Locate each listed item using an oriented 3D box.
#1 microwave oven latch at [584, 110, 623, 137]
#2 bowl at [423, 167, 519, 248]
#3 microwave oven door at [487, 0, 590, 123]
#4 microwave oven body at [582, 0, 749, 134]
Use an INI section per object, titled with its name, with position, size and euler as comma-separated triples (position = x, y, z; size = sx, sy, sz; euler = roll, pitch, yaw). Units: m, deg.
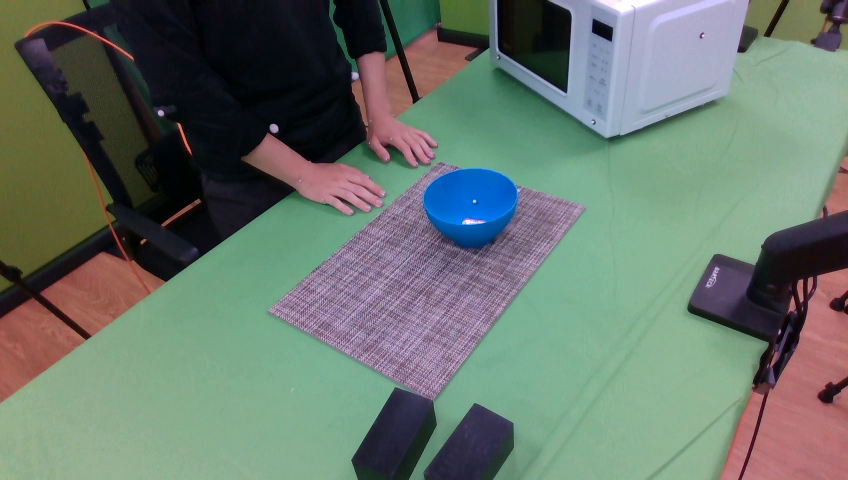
[microwave oven latch]
position = 0.337, -0.222, 1.142
size = 0.030, 0.029, 0.078
euler = -21, 42, -14
[bowl]
position = 0.075, -0.041, 0.959
size = 0.151, 0.077, 0.150
euler = -4, 40, 4
[microwave oven door]
position = 0.232, -0.420, 1.231
size = 0.039, 0.245, 0.352
euler = -22, 43, -16
[microwave oven body]
position = 0.382, -0.444, 1.246
size = 0.327, 0.261, 0.437
euler = -22, 42, -16
